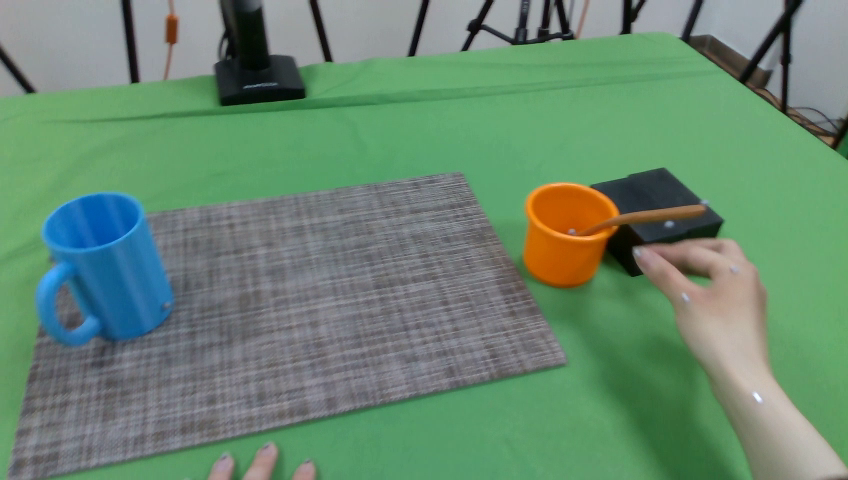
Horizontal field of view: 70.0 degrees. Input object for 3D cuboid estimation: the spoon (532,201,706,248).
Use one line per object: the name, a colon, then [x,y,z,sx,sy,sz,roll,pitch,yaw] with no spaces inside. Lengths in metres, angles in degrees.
spoon: [0.176,-0.015,0.576,0.041,0.193,0.021,-27,94,-33]

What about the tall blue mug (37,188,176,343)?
tall blue mug: [-0.266,0.031,0.516,0.078,0.109,0.106,-2,43,-8]
